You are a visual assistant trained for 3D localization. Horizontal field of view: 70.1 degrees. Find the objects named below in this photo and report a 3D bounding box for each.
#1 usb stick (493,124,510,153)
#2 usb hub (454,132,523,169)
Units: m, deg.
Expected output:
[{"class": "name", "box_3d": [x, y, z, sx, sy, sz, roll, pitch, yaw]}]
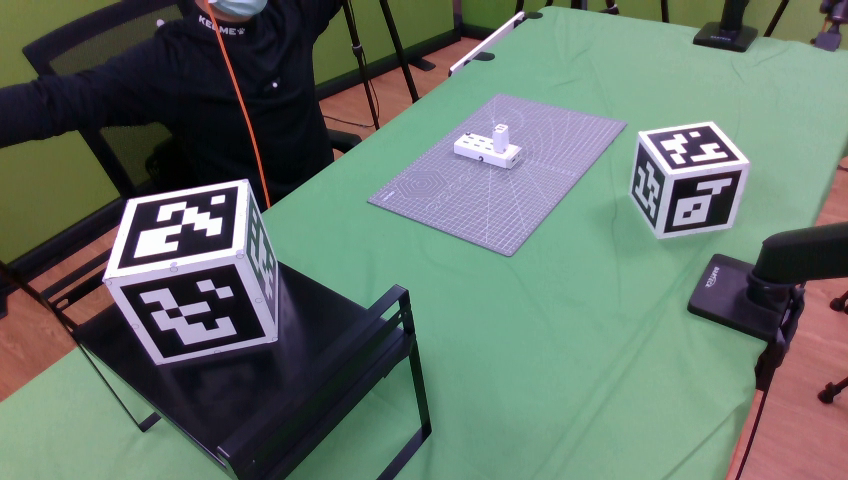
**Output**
[{"class": "usb stick", "box_3d": [0.142, -0.180, 1.107, 0.021, 0.059, 0.027, 18, 46, 29]}, {"class": "usb hub", "box_3d": [0.122, -0.170, 1.144, 0.124, 0.025, 0.049, 22, 48, 29]}]
